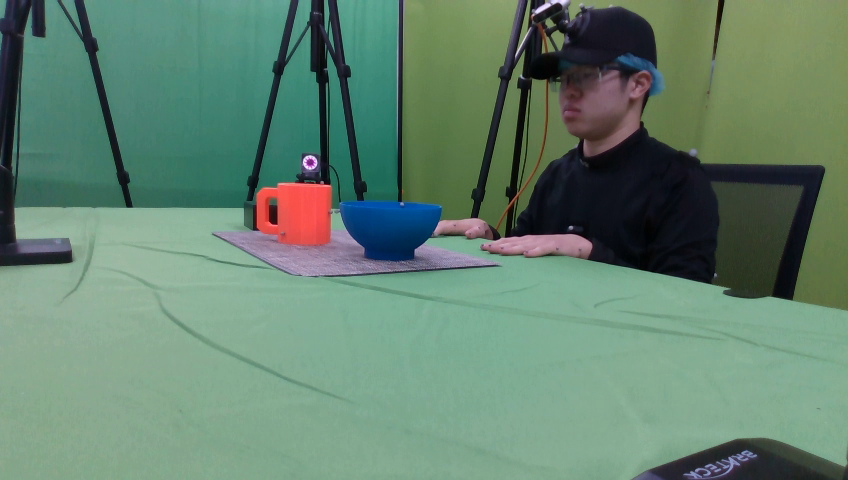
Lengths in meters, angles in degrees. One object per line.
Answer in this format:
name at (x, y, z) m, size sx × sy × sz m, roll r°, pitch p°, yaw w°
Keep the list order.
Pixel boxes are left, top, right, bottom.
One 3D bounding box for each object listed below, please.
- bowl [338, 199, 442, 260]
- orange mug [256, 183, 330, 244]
bowl at (-0.050, -0.015, 0.878) m, size 0.151 × 0.077 × 0.151 m, roll 2°, pitch 8°, yaw 0°
orange mug at (-0.216, -0.047, 0.999) m, size 0.126 × 0.100 × 0.083 m, roll 7°, pitch 8°, yaw 8°
